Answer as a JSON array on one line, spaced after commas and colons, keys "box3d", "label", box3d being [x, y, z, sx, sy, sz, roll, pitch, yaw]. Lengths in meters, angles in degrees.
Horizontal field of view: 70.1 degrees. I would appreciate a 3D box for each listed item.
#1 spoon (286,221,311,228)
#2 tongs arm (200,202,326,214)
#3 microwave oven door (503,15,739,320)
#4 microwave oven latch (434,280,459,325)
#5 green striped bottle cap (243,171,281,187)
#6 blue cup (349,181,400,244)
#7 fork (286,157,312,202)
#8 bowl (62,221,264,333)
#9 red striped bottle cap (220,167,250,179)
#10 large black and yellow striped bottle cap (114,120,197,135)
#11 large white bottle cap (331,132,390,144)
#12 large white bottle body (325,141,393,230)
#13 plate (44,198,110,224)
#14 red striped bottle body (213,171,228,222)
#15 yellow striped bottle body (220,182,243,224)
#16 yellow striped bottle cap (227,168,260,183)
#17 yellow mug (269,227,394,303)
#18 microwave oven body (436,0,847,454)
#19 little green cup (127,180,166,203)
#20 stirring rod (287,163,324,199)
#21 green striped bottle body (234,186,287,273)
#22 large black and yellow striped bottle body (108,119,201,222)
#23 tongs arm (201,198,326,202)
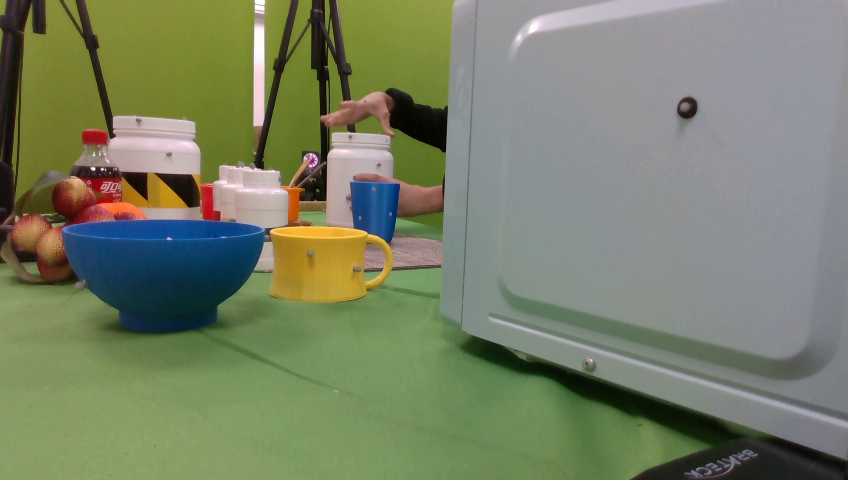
[{"box3d": [-0.232, -0.027, 1.116, 0.041, 0.021, 0.193, -22, 6, 4], "label": "spoon"}, {"box3d": [-0.378, -0.079, 1.440, 0.387, 0.026, 0.050, -4, 8, -44], "label": "tongs arm"}, {"box3d": [0.218, -0.065, 0.600, 0.358, 0.243, 0.039, -4, 10, -41], "label": "microwave oven door"}, {"box3d": [0.044, 0.045, 0.470, 0.079, 0.029, 0.030, -2, 8, -39], "label": "microwave oven latch"}, {"box3d": [-0.198, -0.074, 0.736, 0.044, 0.020, 0.044, 1, 7, 0], "label": "green striped bottle cap"}, {"box3d": [-0.083, -0.047, 1.011, 0.093, 0.100, 0.092, 2, 6, 0], "label": "blue cup"}, {"box3d": [-0.289, -0.116, 1.321, 0.028, 0.019, 0.207, 6, 51, 19], "label": "fork"}, {"box3d": [-0.208, 0.029, 0.496, 0.151, 0.077, 0.151, 2, 7, 0], "label": "bowl"}, {"box3d": [-0.281, -0.099, 0.901, 0.044, 0.017, 0.044, -1, 5, 0], "label": "red striped bottle cap"}, {"box3d": [-0.407, -0.171, 0.920, 0.115, 0.019, 0.115, 2, 9, 0], "label": "large black and yellow striped bottle cap"}, {"box3d": [-0.122, -0.197, 1.177, 0.115, 0.018, 0.115, 3, 8, 0], "label": "large white bottle cap"}, {"box3d": [-0.127, -0.114, 1.189, 0.131, 0.184, 0.130, 2, 7, 0], "label": "large white bottle body"}, {"box3d": [-0.617, -0.056, 1.179, 0.209, 0.038, 0.209, 3, 7, 0], "label": "plate"}, {"box3d": [-0.284, -0.048, 0.909, 0.063, 0.119, 0.063, 3, 12, 0], "label": "red striped bottle body"}, {"box3d": [-0.246, -0.036, 0.825, 0.063, 0.120, 0.063, 3, 8, 0], "label": "yellow striped bottle body"}, {"box3d": [-0.243, -0.087, 0.818, 0.044, 0.018, 0.044, 3, 6, 0], "label": "yellow striped bottle cap"}, {"box3d": [-0.094, 0.023, 0.629, 0.131, 0.064, 0.099, 0, 6, -22], "label": "yellow mug"}, {"box3d": [0.279, -0.040, 0.465, 0.444, 0.260, 0.324, -3, 9, -41], "label": "microwave oven body"}, {"box3d": [-0.486, -0.086, 1.061, 0.061, 0.038, 0.061, 1, 7, 0], "label": "little green cup"}, {"box3d": [-0.278, -0.105, 1.293, 0.176, 0.006, 0.014, -47, 26, -18], "label": "stirring rod"}, {"box3d": [-0.200, -0.023, 0.743, 0.063, 0.119, 0.063, 2, 7, 0], "label": "green striped bottle body"}, {"box3d": [-0.412, -0.088, 0.930, 0.131, 0.184, 0.130, 3, 7, 0], "label": "large black and yellow striped bottle body"}, {"box3d": [-0.433, -0.090, 1.508, 0.390, 0.028, 0.028, -1, 2, -29], "label": "tongs arm"}]
